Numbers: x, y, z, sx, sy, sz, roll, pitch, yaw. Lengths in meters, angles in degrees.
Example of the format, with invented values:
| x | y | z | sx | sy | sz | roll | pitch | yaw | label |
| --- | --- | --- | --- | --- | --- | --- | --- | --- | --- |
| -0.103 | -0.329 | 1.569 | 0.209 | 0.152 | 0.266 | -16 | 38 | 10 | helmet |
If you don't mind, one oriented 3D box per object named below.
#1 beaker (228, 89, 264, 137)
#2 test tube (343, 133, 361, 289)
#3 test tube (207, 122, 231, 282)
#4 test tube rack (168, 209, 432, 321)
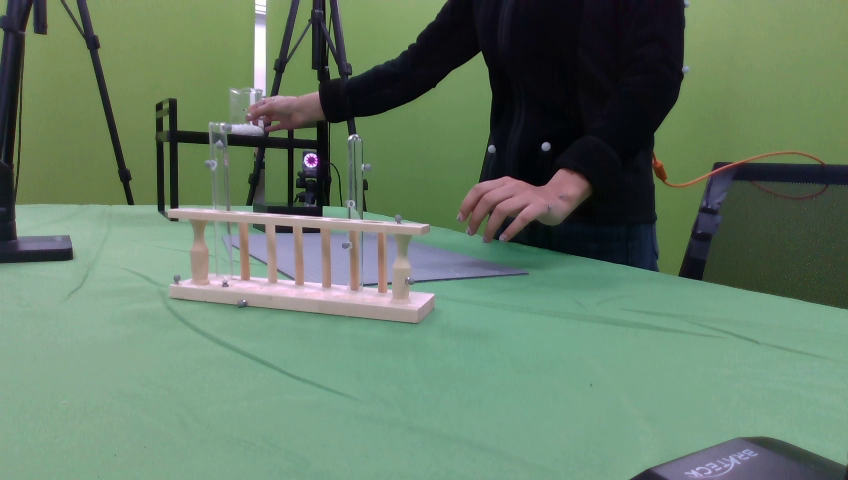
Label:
| x | y | z | sx | sy | sz | roll | pitch | yaw | label |
| --- | --- | --- | --- | --- | --- | --- | --- | --- | --- |
| -0.389 | -0.278 | 1.325 | 0.074 | 0.100 | 0.084 | 0 | 9 | 3 | beaker |
| -0.069 | -0.025 | 0.575 | 0.017 | 0.150 | 0.017 | 1 | 11 | 0 | test tube |
| -0.191 | -0.034 | 0.565 | 0.017 | 0.150 | 0.017 | 1 | 11 | 0 | test tube |
| -0.116 | 0.018 | 0.574 | 0.242 | 0.085 | 0.067 | 4 | 8 | 13 | test tube rack |
